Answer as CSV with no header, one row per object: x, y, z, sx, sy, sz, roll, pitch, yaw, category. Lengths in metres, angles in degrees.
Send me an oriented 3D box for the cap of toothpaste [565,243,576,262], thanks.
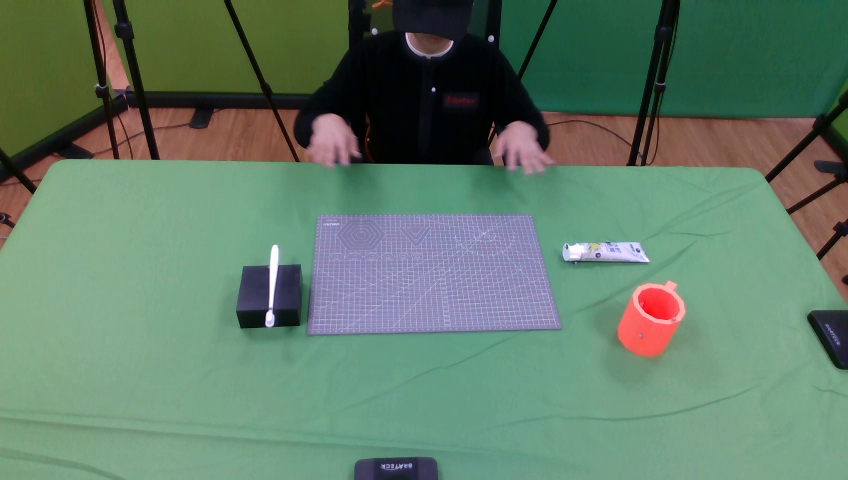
0.285,0.023,1.178,0.011,0.037,0.037,-3,46,-11,cap of toothpaste

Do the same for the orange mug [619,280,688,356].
0.401,0.125,1.045,0.083,0.101,0.126,30,56,24,orange mug

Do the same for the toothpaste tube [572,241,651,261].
0.363,0.024,1.191,0.165,0.035,0.054,-2,50,-11,toothpaste tube

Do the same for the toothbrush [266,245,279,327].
-0.261,0.073,1.042,0.014,0.017,0.180,-6,46,-3,toothbrush
